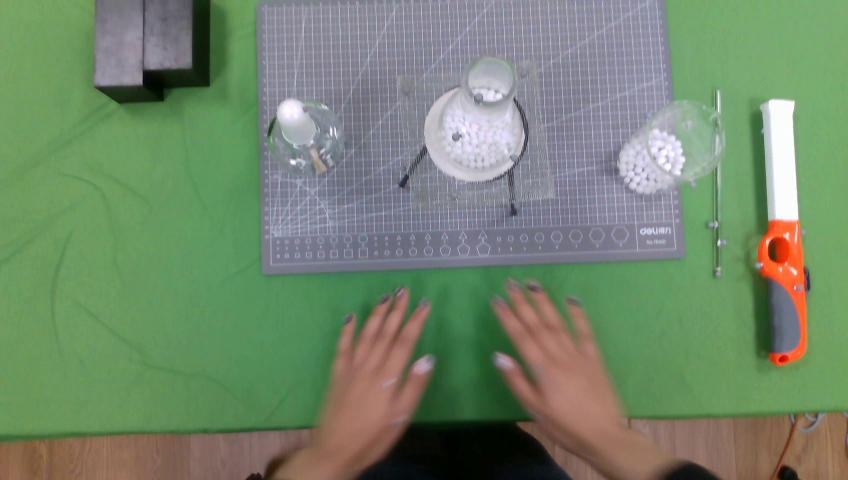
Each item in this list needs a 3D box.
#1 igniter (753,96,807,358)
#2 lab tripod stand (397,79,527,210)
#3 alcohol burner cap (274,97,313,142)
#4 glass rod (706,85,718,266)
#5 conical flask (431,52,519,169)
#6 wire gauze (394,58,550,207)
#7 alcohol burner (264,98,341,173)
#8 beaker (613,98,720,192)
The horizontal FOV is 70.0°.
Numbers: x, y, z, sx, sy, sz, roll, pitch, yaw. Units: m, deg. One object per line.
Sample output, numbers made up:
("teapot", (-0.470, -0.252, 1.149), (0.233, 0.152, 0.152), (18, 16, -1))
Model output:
("igniter", (0.374, -0.015, 0.640), (0.057, 0.025, 0.276), (1, 85, -10))
("lab tripod stand", (0.041, -0.088, 0.588), (0.148, 0.131, 0.148), (0, 86, 1))
("alcohol burner cap", (-0.123, -0.115, 0.563), (0.034, 0.048, 0.033), (1, 76, -2))
("glass rod", (0.312, -0.071, 0.655), (0.008, 0.008, 0.199), (1, 84, 0))
("conical flask", (0.043, -0.103, 0.464), (0.075, 0.122, 0.075), (0, 84, 1))
("wire gauze", (0.042, -0.092, 0.523), (0.125, 0.011, 0.121), (-6, 87, -3))
("alcohol burner", (-0.123, -0.108, 0.599), (0.078, 0.119, 0.077), (0, 82, 0))
("beaker", (0.239, -0.092, 0.607), (0.084, 0.100, 0.074), (-40, 86, -4))
